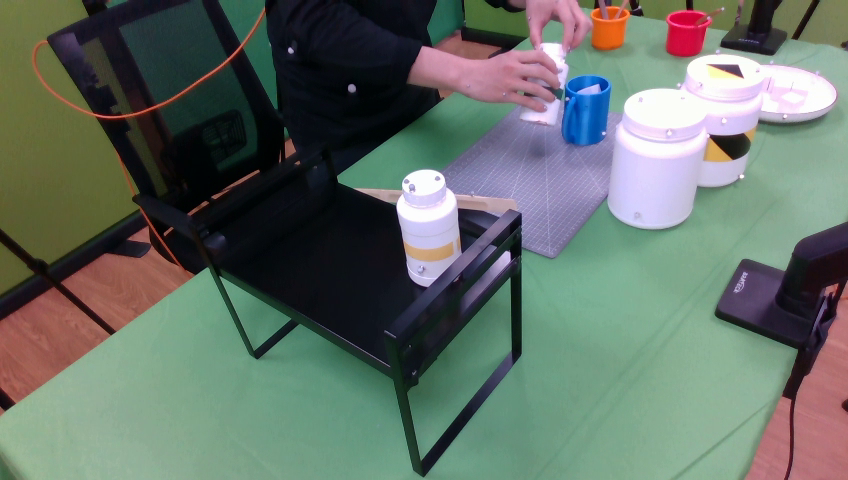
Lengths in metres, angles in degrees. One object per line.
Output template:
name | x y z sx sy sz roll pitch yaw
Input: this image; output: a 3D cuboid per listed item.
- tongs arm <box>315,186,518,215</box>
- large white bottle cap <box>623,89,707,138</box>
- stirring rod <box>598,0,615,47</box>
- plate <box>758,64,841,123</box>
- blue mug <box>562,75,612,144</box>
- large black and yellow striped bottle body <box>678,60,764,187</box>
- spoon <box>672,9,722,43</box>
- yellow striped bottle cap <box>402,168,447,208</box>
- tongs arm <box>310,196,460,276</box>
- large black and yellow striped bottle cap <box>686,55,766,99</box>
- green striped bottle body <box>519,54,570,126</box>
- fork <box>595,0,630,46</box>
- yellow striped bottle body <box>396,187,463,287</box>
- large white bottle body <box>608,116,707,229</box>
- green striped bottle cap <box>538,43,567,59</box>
tongs arm | -0.028 -0.060 0.988 0.382 0.027 0.051 10 45 36
large white bottle cap | 0.352 -0.187 0.886 0.115 0.018 0.114 -4 41 4
stirring rod | 0.437 -0.551 1.462 0.014 0.006 0.175 -11 83 1
plate | 0.695 -0.283 1.189 0.207 0.039 0.206 -4 40 4
blue mug | 0.298 -0.239 1.143 0.081 0.106 0.117 30 54 36
large black and yellow striped bottle body | 0.482 -0.196 1.008 0.131 0.185 0.130 -4 41 4
spoon | 0.606 -0.476 1.345 0.042 0.021 0.193 -6 -3 -2
yellow striped bottle cap | 0.000 -0.052 0.605 0.044 0.019 0.044 -5 43 5
tongs arm | -0.078 -0.012 0.944 0.028 0.028 0.384 -43 39 -22
large black and yellow striped bottle cap | 0.474 -0.258 0.952 0.115 0.019 0.114 -5 41 5
green striped bottle body | 0.198 -0.251 0.985 0.063 0.119 0.063 12 11 -2
fork | 0.480 -0.556 1.453 0.028 0.019 0.207 41 103 40
yellow striped bottle body | 0.006 -0.013 0.638 0.063 0.121 0.062 -5 41 5
large white bottle body | 0.361 -0.124 0.942 0.130 0.185 0.130 -4 41 4
green striped bottle cap | 0.207 -0.304 0.975 0.044 0.020 0.044 5 9 0
